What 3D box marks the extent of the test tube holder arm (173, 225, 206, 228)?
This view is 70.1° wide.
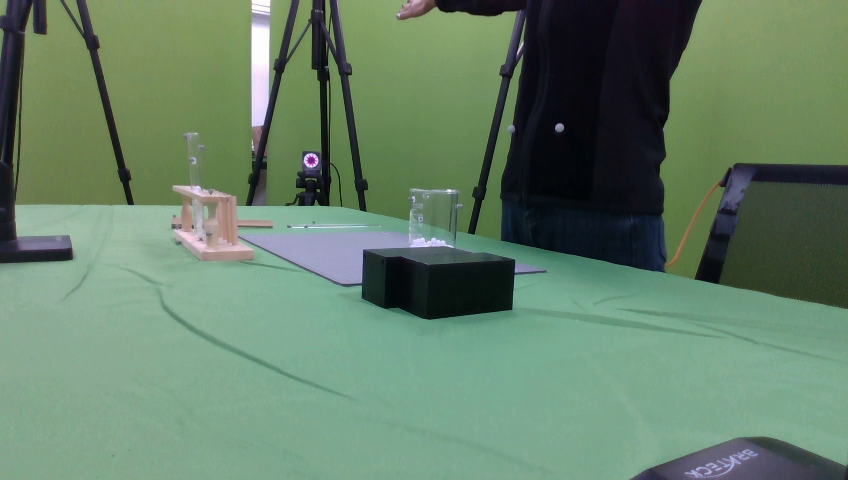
[{"bbox_3d":[-0.414,-0.030,1.113,0.088,0.015,0.010,-1,-22,-25],"label":"test tube holder arm"}]

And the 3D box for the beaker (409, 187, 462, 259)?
[{"bbox_3d":[0.013,-0.027,0.884,0.074,0.100,0.083,0,7,-23],"label":"beaker"}]

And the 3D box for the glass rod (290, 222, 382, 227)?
[{"bbox_3d":[-0.178,-0.032,1.247,0.201,0.008,0.008,-2,8,-30],"label":"glass rod"}]

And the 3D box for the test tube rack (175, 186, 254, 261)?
[{"bbox_3d":[-0.314,-0.031,0.889,0.067,0.085,0.241,-2,8,-30],"label":"test tube rack"}]

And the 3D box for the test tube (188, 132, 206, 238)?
[{"bbox_3d":[-0.323,-0.077,0.861,0.017,0.150,0.017,-1,8,1],"label":"test tube"}]

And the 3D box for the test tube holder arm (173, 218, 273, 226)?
[{"bbox_3d":[-0.371,-0.033,1.128,0.179,0.015,0.013,-1,-22,-26],"label":"test tube holder arm"}]
